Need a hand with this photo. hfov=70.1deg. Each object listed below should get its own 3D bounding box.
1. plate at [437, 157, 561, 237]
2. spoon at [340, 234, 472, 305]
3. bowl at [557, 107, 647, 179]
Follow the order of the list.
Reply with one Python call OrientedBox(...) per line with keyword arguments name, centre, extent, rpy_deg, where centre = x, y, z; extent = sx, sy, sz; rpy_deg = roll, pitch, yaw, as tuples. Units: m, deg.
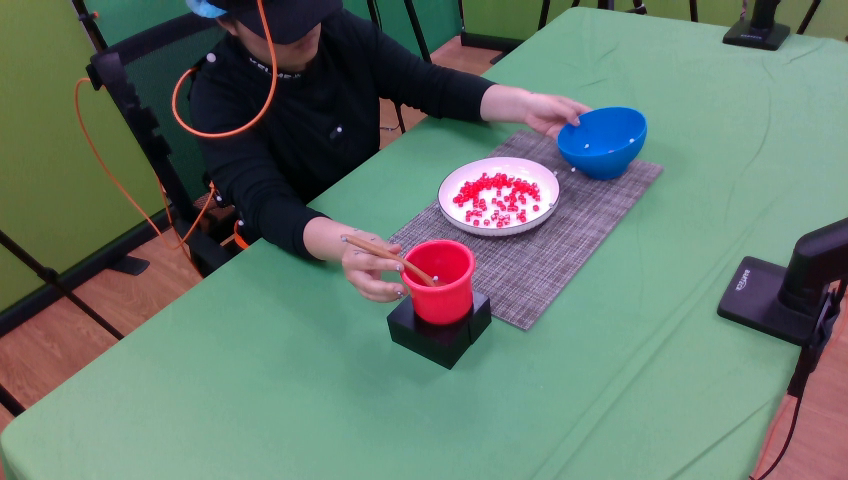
OrientedBox(name="plate", centre=(0.127, -0.070, 1.024), extent=(0.207, 0.039, 0.206), rpy_deg=(-5, 40, 5))
OrientedBox(name="spoon", centre=(-0.020, 0.036, 0.771), extent=(0.195, 0.021, 0.041), rpy_deg=(32, 24, -20))
OrientedBox(name="bowl", centre=(0.313, -0.159, 1.052), extent=(0.151, 0.077, 0.150), rpy_deg=(-15, 37, 12))
